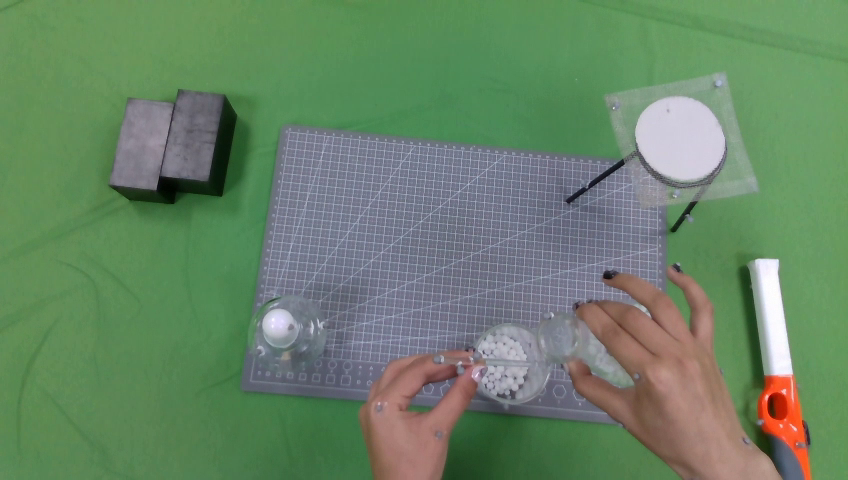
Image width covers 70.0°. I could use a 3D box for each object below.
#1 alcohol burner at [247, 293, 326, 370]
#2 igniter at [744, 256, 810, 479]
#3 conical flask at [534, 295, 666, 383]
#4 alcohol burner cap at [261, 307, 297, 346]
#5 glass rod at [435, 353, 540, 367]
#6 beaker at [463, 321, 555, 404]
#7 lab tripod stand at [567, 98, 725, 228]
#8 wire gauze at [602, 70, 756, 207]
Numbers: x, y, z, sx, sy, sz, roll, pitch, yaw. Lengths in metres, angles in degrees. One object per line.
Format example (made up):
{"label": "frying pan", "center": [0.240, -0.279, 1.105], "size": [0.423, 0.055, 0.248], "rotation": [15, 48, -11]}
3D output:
{"label": "alcohol burner", "center": [-0.137, 0.087, 0.593], "size": [0.078, 0.119, 0.077], "rotation": [1, 76, -4]}
{"label": "igniter", "center": [0.380, 0.153, 0.653], "size": [0.057, 0.025, 0.275], "rotation": [2, 77, -14]}
{"label": "conical flask", "center": [0.137, 0.078, 0.487], "size": [0.123, 0.075, 0.075], "rotation": [11, 71, -46]}
{"label": "alcohol burner cap", "center": [-0.134, 0.077, 0.558], "size": [0.034, 0.048, 0.033], "rotation": [3, 70, -9]}
{"label": "glass rod", "center": [0.061, 0.103, 0.512], "size": [0.008, 0.201, 0.008], "rotation": [-7, 75, 30]}
{"label": "beaker", "center": [0.080, 0.122, 0.605], "size": [0.084, 0.100, 0.073], "rotation": [-13, 78, -6]}
{"label": "lab tripod stand", "center": [0.238, -0.078, 0.642], "size": [0.148, 0.132, 0.147], "rotation": [1, 78, -4]}
{"label": "wire gauze", "center": [0.244, -0.097, 0.577], "size": [0.125, 0.011, 0.121], "rotation": [-10, 80, -5]}
